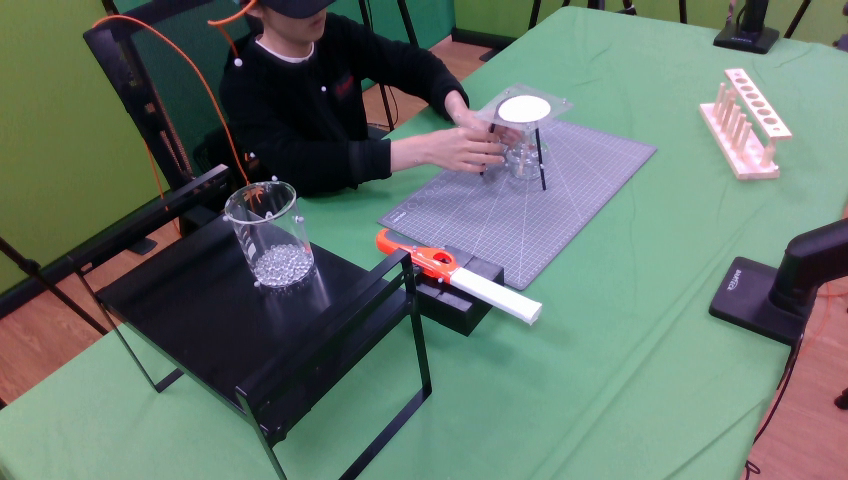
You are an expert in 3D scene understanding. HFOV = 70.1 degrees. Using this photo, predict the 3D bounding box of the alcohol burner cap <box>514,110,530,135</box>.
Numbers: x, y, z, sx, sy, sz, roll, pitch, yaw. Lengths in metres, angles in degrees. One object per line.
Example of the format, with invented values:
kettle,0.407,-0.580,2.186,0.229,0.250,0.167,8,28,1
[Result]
alcohol burner cap,0.194,-0.235,1.200,0.034,0.048,0.033,-5,42,5

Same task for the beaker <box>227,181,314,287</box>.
beaker,-0.166,-0.006,0.670,0.074,0.101,0.083,-8,40,0

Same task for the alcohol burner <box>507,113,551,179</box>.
alcohol burner,0.186,-0.169,1.069,0.078,0.119,0.077,-5,39,4

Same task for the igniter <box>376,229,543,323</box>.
igniter,0.038,0.044,0.843,0.274,0.025,0.057,25,47,29

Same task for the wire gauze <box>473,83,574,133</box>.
wire gauze,0.167,-0.221,1.013,0.120,0.011,0.125,30,55,35

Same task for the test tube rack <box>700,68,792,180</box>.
test tube rack,0.572,-0.215,1.090,0.066,0.085,0.241,-3,41,7

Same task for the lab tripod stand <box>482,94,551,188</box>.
lab tripod stand,0.172,-0.176,1.064,0.148,0.132,0.147,-5,42,5
